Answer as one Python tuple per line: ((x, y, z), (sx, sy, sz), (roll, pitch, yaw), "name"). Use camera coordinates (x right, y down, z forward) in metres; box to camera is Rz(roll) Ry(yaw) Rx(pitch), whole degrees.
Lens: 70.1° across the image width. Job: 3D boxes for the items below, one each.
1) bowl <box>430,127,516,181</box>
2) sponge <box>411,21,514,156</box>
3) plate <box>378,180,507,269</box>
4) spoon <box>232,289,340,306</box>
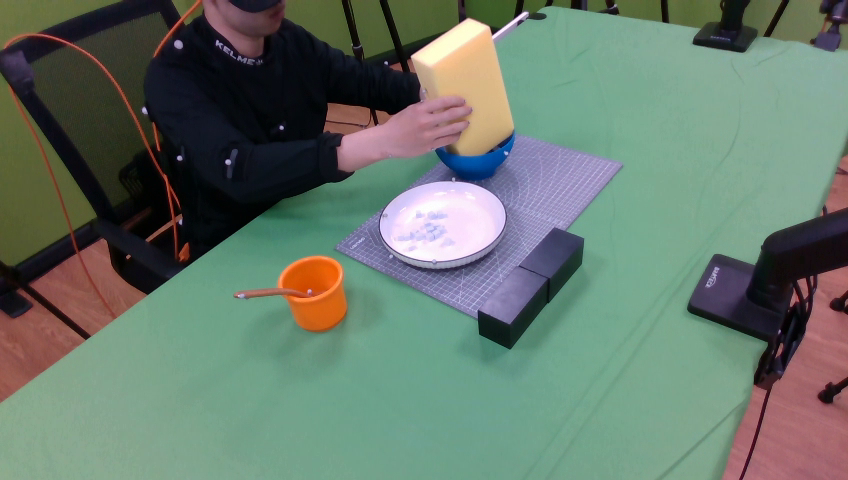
((0.091, -0.160, 1.095), (0.151, 0.077, 0.150), (-5, 41, 4), "bowl")
((0.070, -0.238, 1.010), (0.118, 0.208, 0.060), (-36, 44, -12), "sponge")
((0.031, -0.022, 0.974), (0.209, 0.038, 0.208), (-4, 40, 4), "plate")
((-0.181, 0.074, 0.811), (0.041, 0.195, 0.021), (16, 90, 31), "spoon")
